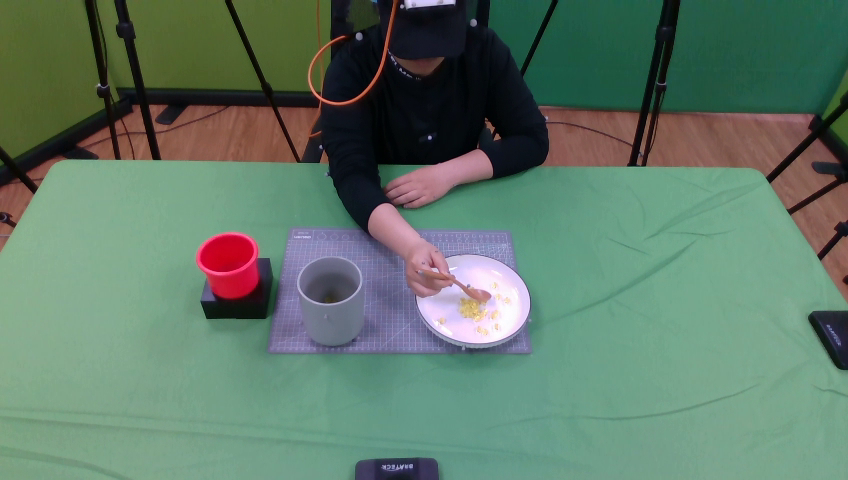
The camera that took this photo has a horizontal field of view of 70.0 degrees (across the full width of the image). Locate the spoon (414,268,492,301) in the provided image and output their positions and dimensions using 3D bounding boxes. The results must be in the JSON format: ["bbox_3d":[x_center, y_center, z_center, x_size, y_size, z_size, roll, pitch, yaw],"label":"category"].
[{"bbox_3d":[0.051,0.073,1.027,0.021,0.195,0.041,-56,44,6],"label":"spoon"}]

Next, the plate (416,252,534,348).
[{"bbox_3d":[0.090,0.109,1.084,0.208,0.039,0.206,2,46,-2],"label":"plate"}]

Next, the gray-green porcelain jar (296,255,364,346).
[{"bbox_3d":[-0.153,0.106,1.008,0.106,0.127,0.105,2,46,-2],"label":"gray-green porcelain jar"}]
